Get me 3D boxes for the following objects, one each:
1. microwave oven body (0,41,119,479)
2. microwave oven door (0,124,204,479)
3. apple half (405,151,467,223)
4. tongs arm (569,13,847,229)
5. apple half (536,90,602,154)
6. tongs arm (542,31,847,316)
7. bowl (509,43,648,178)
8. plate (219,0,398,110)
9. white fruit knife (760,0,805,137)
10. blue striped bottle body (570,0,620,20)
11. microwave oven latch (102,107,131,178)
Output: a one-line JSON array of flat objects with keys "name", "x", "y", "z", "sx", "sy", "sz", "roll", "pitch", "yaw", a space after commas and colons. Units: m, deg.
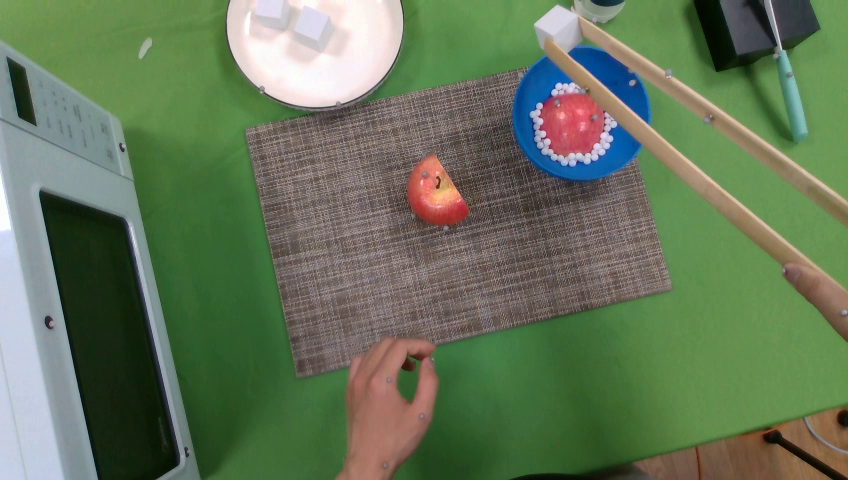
[{"name": "microwave oven body", "x": -0.454, "y": 0.090, "z": 0.566, "sx": 0.326, "sy": 0.260, "sz": 0.440, "roll": -15, "pitch": 85, "yaw": -3}, {"name": "microwave oven door", "x": -0.301, "y": 0.093, "z": 0.564, "sx": 0.039, "sy": 0.244, "sz": 0.355, "roll": -15, "pitch": 85, "yaw": -2}, {"name": "apple half", "x": 0.007, "y": -0.052, "z": 0.683, "sx": 0.053, "sy": 0.074, "sz": 0.081, "roll": -33, "pitch": 89, "yaw": 0}, {"name": "tongs arm", "x": 0.242, "y": -0.077, "z": 0.498, "sx": 0.051, "sy": 0.027, "sz": 0.381, "roll": -39, "pitch": 62, "yaw": -8}, {"name": "apple half", "x": 0.168, "y": -0.137, "z": 0.686, "sx": 0.081, "sy": 0.033, "sz": 0.081, "roll": 0, "pitch": 82, "yaw": 0}, {"name": "tongs arm", "x": 0.223, "y": -0.063, "z": 0.496, "sx": 0.028, "sy": 0.028, "sz": 0.383, "roll": -34, "pitch": 61, "yaw": -9}, {"name": "bowl", "x": 0.167, "y": -0.137, "z": 0.691, "sx": 0.151, "sy": 0.077, "sz": 0.151, "roll": 0, "pitch": 84, "yaw": 0}, {"name": "plate", "x": -0.134, "y": -0.252, "z": 0.721, "sx": 0.208, "sy": 0.039, "sz": 0.207, "roll": 0, "pitch": 85, "yaw": -1}, {"name": "white fruit knife", "x": 0.410, "y": -0.217, "z": 0.703, "sx": 0.016, "sy": 0.027, "sz": 0.208, "roll": -19, "pitch": 102, "yaw": 15}, {"name": "blue striped bottle body", "x": 0.210, "y": -0.308, "z": 0.691, "sx": 0.063, "sy": 0.121, "sz": 0.063, "roll": 0, "pitch": 84, "yaw": 0}, {"name": "microwave oven latch", "x": -0.357, "y": -0.107, "z": 0.684, "sx": 0.030, "sy": 0.029, "sz": 0.079, "roll": -15, "pitch": 86, "yaw": -3}]
